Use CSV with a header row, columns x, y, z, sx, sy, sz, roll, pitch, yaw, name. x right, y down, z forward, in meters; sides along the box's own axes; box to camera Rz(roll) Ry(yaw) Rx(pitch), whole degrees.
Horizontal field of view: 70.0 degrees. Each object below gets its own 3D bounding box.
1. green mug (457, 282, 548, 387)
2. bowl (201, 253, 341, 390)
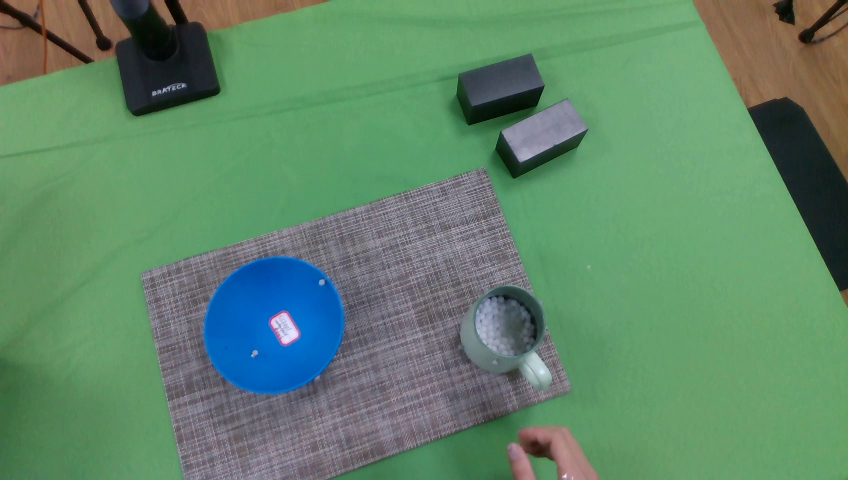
x,y,z,sx,sy,sz,roll,pitch,yaw,name
0.095,0.110,0.679,0.092,0.105,0.124,-35,77,-11,green mug
-0.165,0.096,0.689,0.151,0.077,0.150,0,74,-1,bowl
